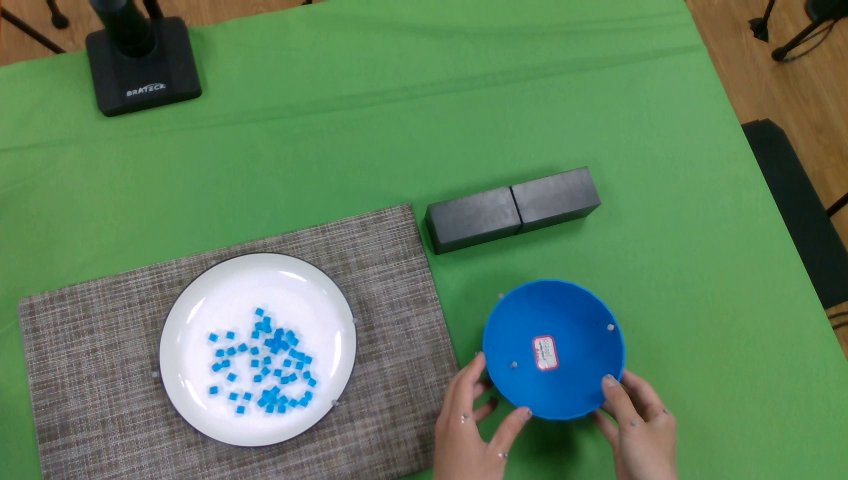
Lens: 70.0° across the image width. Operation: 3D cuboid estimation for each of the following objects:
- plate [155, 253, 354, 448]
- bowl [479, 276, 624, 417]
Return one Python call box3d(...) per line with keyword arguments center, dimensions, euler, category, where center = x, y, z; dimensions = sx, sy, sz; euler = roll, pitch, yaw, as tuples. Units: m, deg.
box3d(center=(-0.180, 0.118, 0.663), dimensions=(0.208, 0.039, 0.206), euler=(2, 75, -6), category="plate")
box3d(center=(0.135, 0.123, 0.675), dimensions=(0.151, 0.077, 0.150), euler=(-1, 70, 2), category="bowl")
